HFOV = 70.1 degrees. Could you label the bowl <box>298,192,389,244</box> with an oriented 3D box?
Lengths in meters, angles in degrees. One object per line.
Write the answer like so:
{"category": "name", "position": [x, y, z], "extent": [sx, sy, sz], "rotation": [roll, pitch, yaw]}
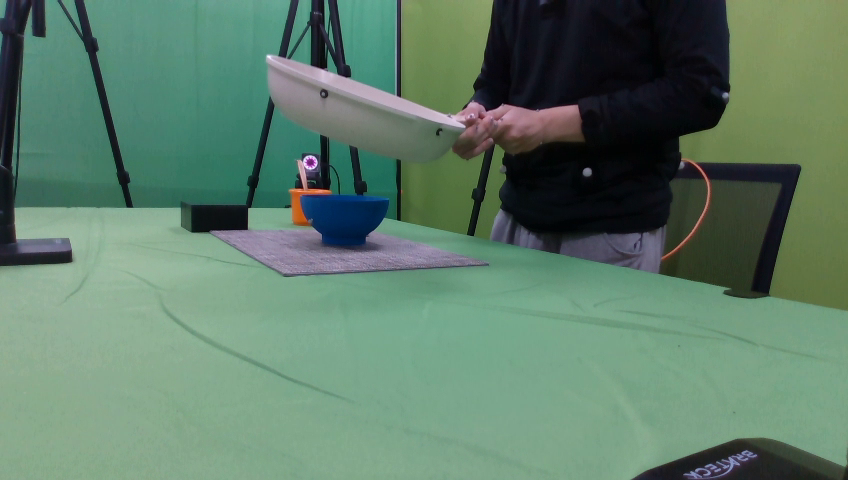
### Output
{"category": "bowl", "position": [-0.136, -0.037, 1.018], "extent": [0.151, 0.077, 0.151], "rotation": [2, 7, 0]}

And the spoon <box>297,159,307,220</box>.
{"category": "spoon", "position": [-0.264, -0.114, 1.338], "extent": [0.042, 0.193, 0.021], "rotation": [0, -37, -21]}

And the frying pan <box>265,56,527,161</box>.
{"category": "frying pan", "position": [-0.007, -0.191, 0.933], "extent": [0.491, 0.102, 0.305], "rotation": [-4, 27, -38]}
